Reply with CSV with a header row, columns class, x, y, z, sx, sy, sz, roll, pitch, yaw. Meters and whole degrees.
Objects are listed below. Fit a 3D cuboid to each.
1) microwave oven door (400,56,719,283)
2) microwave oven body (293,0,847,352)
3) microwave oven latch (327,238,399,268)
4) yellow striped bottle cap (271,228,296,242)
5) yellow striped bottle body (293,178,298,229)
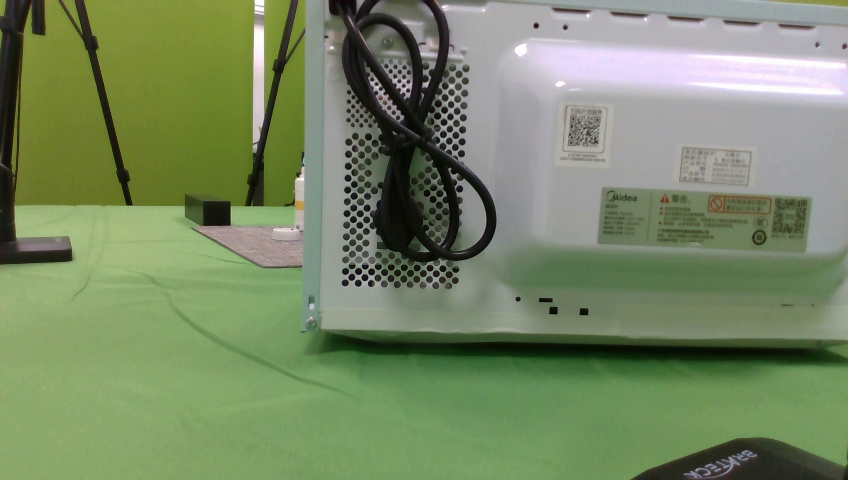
class,x,y,z,sx,sy,sz,roll,pitch,yaw
microwave oven door,0.155,-0.077,0.698,0.356,0.243,0.039,2,8,-5
microwave oven body,0.122,-0.055,0.550,0.442,0.260,0.325,3,7,-5
microwave oven latch,-0.069,0.015,0.694,0.079,0.029,0.030,3,7,-3
yellow striped bottle cap,-0.232,-0.008,1.011,0.044,0.018,0.044,4,8,0
yellow striped bottle body,-0.214,-0.078,1.141,0.063,0.120,0.063,2,7,0
